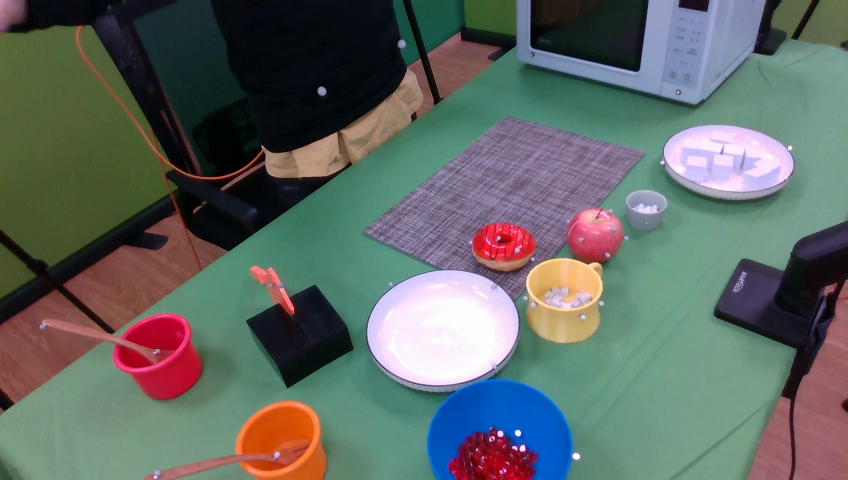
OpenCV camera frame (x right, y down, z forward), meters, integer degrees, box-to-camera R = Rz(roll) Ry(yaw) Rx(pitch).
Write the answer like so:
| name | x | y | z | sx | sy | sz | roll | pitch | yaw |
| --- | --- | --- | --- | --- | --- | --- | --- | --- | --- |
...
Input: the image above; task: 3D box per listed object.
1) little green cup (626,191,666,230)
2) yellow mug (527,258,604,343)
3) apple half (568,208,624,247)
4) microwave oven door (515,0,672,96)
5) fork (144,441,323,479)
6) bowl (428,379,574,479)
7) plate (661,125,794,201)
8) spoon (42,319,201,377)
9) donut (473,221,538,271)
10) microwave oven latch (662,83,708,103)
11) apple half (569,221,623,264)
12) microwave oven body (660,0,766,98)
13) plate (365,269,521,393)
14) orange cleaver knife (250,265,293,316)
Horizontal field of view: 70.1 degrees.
| name | x | y | z | sx | sy | sz | roll | pitch | yaw |
| --- | --- | --- | --- | --- | --- | --- | --- | --- | --- |
| little green cup | 0.352 | -0.046 | 0.963 | 0.061 | 0.039 | 0.061 | -4 | 40 | 4 |
| yellow mug | 0.201 | 0.073 | 0.825 | 0.131 | 0.064 | 0.099 | -32 | 46 | -27 |
| apple half | 0.259 | -0.014 | 0.914 | 0.080 | 0.075 | 0.053 | 0 | 36 | 15 |
| microwave oven door | 0.343 | -0.454 | 1.259 | 0.353 | 0.245 | 0.039 | 26 | 51 | 33 |
| fork | -0.189 | 0.231 | 0.631 | 0.028 | 0.018 | 0.209 | 34 | 12 | 37 |
| bowl | 0.082 | 0.233 | 0.644 | 0.151 | 0.077 | 0.150 | -4 | 40 | 4 |
| plate | 0.513 | -0.128 | 1.035 | 0.207 | 0.039 | 0.206 | -4 | 40 | 4 |
| spoon | -0.385 | 0.135 | 0.779 | 0.195 | 0.021 | 0.041 | 29 | 37 | -27 |
| donut | 0.124 | 0.009 | 0.923 | 0.099 | 0.048 | 0.098 | -4 | 38 | 3 |
| microwave oven latch | 0.517 | -0.296 | 1.204 | 0.078 | 0.029 | 0.030 | 27 | 52 | 35 |
| apple half | 0.251 | 0.010 | 0.884 | 0.081 | 0.081 | 0.032 | 3 | 37 | 12 |
| microwave oven body | 0.472 | -0.513 | 1.317 | 0.438 | 0.261 | 0.327 | 26 | 51 | 34 |
| plate | 0.027 | 0.123 | 0.813 | 0.209 | 0.038 | 0.208 | -4 | 40 | 4 |
| orange cleaver knife | -0.221 | 0.070 | 0.873 | 0.012 | 0.077 | 0.210 | -26 | 11 | -21 |
